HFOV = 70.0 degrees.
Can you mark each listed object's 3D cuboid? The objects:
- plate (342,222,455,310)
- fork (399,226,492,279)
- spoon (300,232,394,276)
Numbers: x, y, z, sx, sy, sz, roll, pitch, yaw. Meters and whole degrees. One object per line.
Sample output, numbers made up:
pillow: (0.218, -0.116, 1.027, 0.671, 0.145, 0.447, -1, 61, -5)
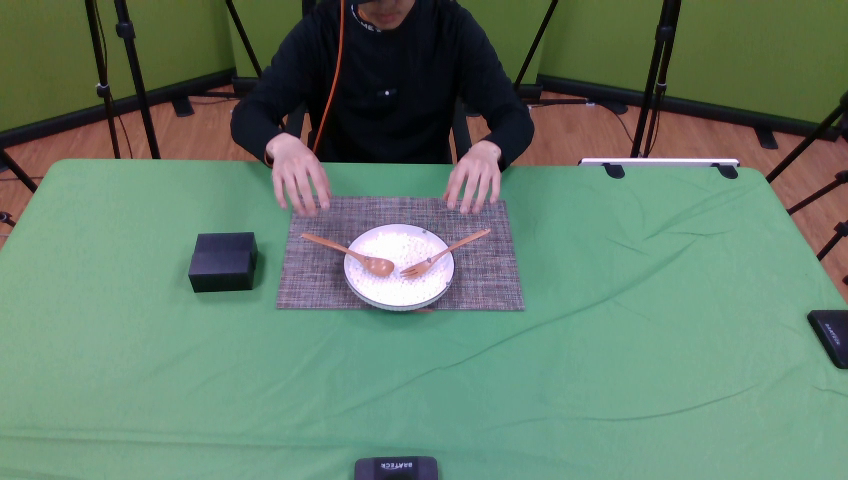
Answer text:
plate: (-0.047, 0.052, 1.127, 0.209, 0.038, 0.208, 2, 46, -2)
fork: (0.044, 0.021, 1.144, 0.207, 0.019, 0.028, -29, 57, -17)
spoon: (-0.145, 0.020, 1.126, 0.193, 0.022, 0.041, 24, 55, 8)
